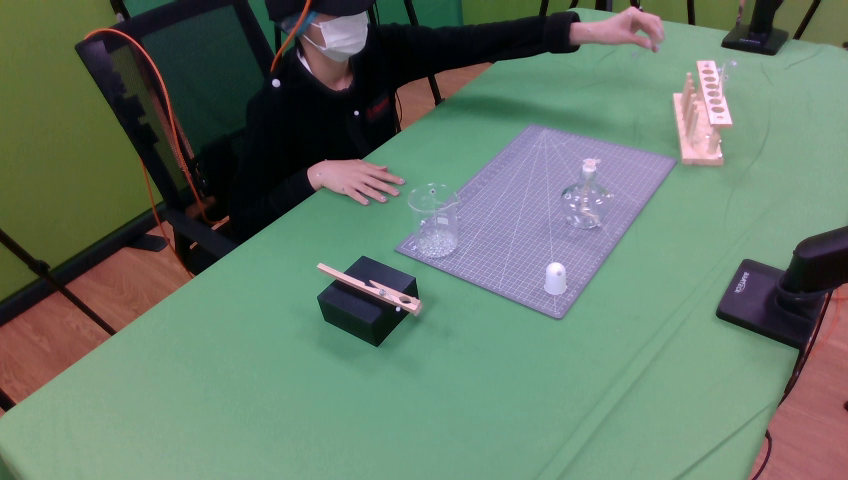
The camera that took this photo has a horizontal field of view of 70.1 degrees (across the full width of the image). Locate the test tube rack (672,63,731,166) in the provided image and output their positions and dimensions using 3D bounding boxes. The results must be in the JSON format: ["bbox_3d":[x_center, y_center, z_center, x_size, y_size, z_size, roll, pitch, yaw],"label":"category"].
[{"bbox_3d":[0.513,-0.240,1.132,0.066,0.085,0.242,4,41,14],"label":"test tube rack"}]

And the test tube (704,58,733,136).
[{"bbox_3d":[0.516,-0.247,1.062,0.017,0.151,0.017,-3,43,4],"label":"test tube"}]

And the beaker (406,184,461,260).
[{"bbox_3d":[0.019,-0.026,0.939,0.084,0.101,0.074,1,41,10],"label":"beaker"}]

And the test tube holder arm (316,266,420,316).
[{"bbox_3d":[-0.080,0.068,0.836,0.177,0.015,0.013,18,55,28],"label":"test tube holder arm"}]

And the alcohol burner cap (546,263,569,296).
[{"bbox_3d":[0.191,0.053,0.862,0.034,0.048,0.033,-5,40,4],"label":"alcohol burner cap"}]

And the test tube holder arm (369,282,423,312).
[{"bbox_3d":[-0.040,0.076,0.817,0.087,0.015,0.010,18,55,28],"label":"test tube holder arm"}]

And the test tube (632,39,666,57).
[{"bbox_3d":[0.427,-0.366,1.155,0.017,0.017,0.150,-7,10,2],"label":"test tube"}]

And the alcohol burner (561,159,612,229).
[{"bbox_3d":[0.257,-0.077,0.951,0.078,0.119,0.077,-3,40,3],"label":"alcohol burner"}]
